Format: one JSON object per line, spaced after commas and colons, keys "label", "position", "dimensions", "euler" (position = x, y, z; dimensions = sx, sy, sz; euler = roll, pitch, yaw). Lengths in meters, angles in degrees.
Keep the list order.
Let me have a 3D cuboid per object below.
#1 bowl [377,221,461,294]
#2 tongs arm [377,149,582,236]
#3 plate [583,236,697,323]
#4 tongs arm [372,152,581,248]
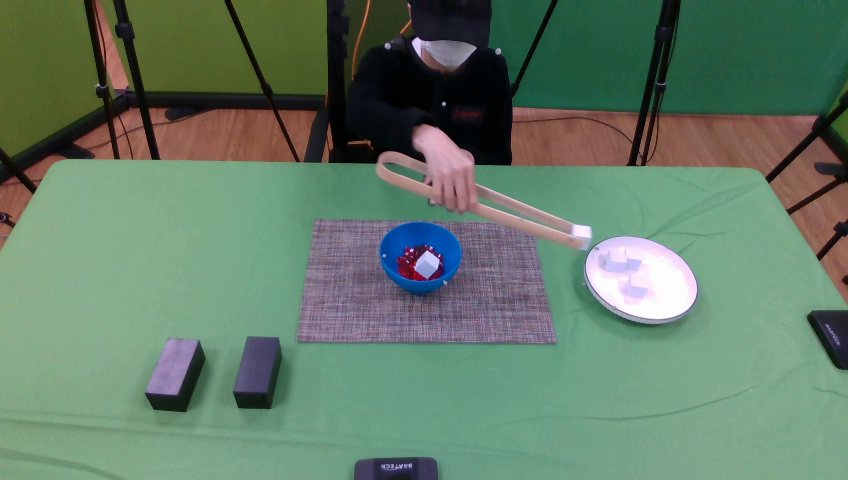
{"label": "bowl", "position": [-0.011, 0.045, 1.109], "dimensions": [0.151, 0.077, 0.150], "euler": [2, 46, -2]}
{"label": "tongs arm", "position": [0.097, -0.084, 1.076], "dimensions": [0.388, 0.028, 0.028], "euler": [22, 51, -1]}
{"label": "plate", "position": [0.403, 0.078, 1.144], "dimensions": [0.209, 0.038, 0.208], "euler": [2, 45, -2]}
{"label": "tongs arm", "position": [0.091, -0.069, 1.061], "dimensions": [0.385, 0.026, 0.050], "euler": [18, 47, -5]}
